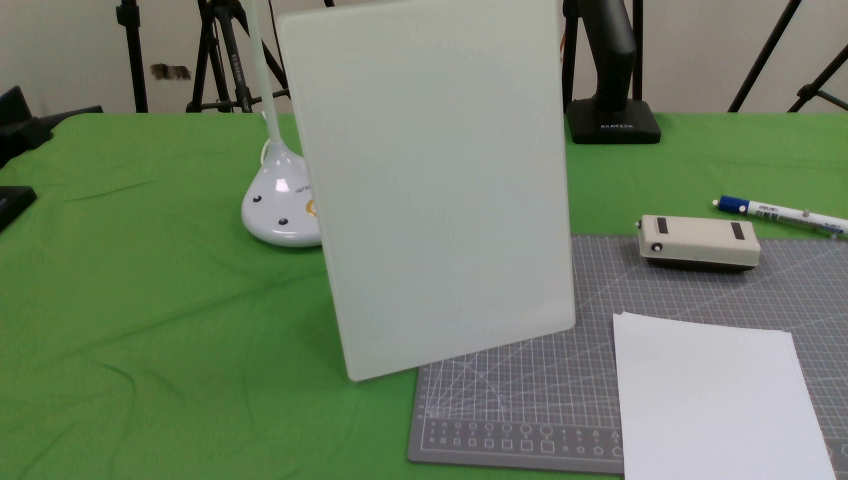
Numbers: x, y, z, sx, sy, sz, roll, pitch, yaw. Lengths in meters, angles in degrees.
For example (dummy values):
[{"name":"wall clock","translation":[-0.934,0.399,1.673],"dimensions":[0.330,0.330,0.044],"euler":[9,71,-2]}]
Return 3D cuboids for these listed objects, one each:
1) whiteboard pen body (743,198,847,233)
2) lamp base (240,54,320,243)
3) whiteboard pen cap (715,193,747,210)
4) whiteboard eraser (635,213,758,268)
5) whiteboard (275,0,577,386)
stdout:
[{"name":"whiteboard pen body","translation":[0.411,-0.031,0.684],"dimensions":[0.140,0.017,0.017],"euler":[16,41,26]},{"name":"lamp base","translation":[-0.154,-0.113,0.698],"dimensions":[0.160,0.182,0.177],"euler":[-31,43,-32]},{"name":"whiteboard pen cap","translation":[0.360,-0.044,0.710],"dimensions":[0.033,0.018,0.018],"euler":[16,41,27]},{"name":"whiteboard eraser","translation":[0.281,0.001,0.632],"dimensions":[0.112,0.042,0.055],"euler":[5,39,10]},{"name":"whiteboard","translation":[0.004,-0.057,0.559],"dimensions":[0.217,0.307,0.142],"euler":[-12,19,-10]}]
